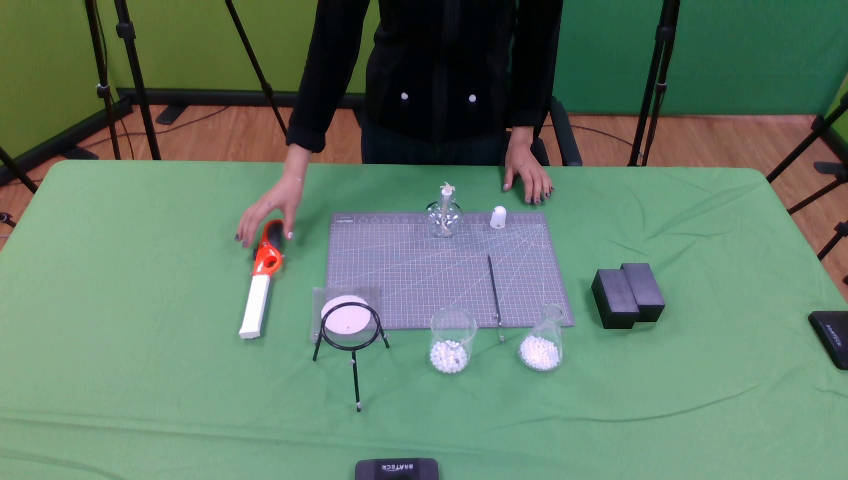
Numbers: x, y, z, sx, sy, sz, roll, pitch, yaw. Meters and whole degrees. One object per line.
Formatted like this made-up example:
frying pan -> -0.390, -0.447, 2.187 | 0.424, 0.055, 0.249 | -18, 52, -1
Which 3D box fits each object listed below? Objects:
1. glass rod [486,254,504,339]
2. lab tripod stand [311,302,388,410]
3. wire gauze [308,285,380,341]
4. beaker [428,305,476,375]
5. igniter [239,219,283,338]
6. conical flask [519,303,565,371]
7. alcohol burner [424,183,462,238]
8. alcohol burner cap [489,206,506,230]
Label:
glass rod -> 0.130, 0.099, 1.119 | 0.008, 0.008, 0.198 | -1, 46, -4
lab tripod stand -> -0.113, 0.168, 0.951 | 0.148, 0.132, 0.147 | 2, 44, -2
wire gauze -> -0.141, 0.128, 1.071 | 0.125, 0.011, 0.120 | -1, 46, -5
beaker -> 0.044, 0.168, 0.987 | 0.074, 0.101, 0.083 | 1, 47, -3
igniter -> -0.297, 0.061, 1.113 | 0.057, 0.025, 0.274 | -5, 46, 4
conical flask -> 0.201, 0.155, 0.997 | 0.075, 0.122, 0.075 | 2, 46, -2
alcohol burner -> 0.039, -0.063, 1.197 | 0.078, 0.119, 0.077 | 3, 44, -2
alcohol burner cap -> 0.152, -0.047, 1.241 | 0.034, 0.048, 0.033 | 2, 45, -2
